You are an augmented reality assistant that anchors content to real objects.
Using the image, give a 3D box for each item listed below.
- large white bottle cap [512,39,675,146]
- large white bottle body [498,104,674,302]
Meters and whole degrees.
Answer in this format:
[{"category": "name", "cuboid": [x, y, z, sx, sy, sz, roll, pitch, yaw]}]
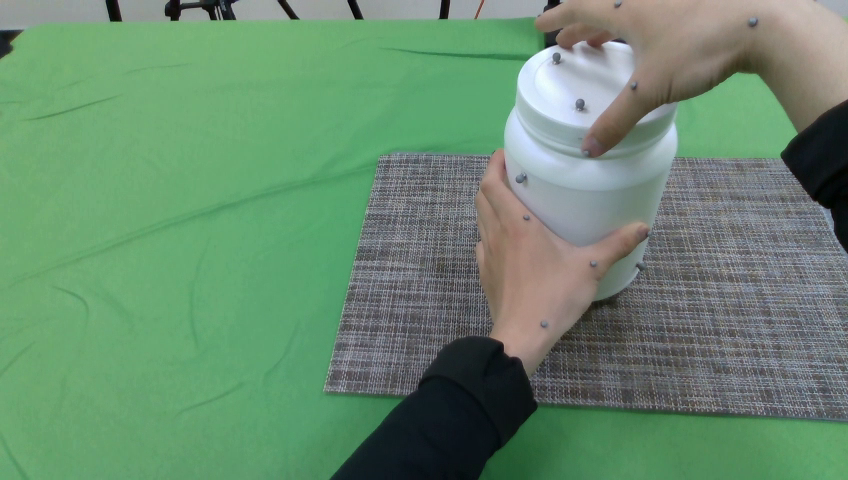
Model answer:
[{"category": "large white bottle cap", "cuboid": [0.122, -0.110, 0.440, 0.115, 0.018, 0.113, -1, 48, 2]}, {"category": "large white bottle body", "cuboid": [0.128, -0.051, 0.502, 0.130, 0.186, 0.129, -2, 47, 3]}]
